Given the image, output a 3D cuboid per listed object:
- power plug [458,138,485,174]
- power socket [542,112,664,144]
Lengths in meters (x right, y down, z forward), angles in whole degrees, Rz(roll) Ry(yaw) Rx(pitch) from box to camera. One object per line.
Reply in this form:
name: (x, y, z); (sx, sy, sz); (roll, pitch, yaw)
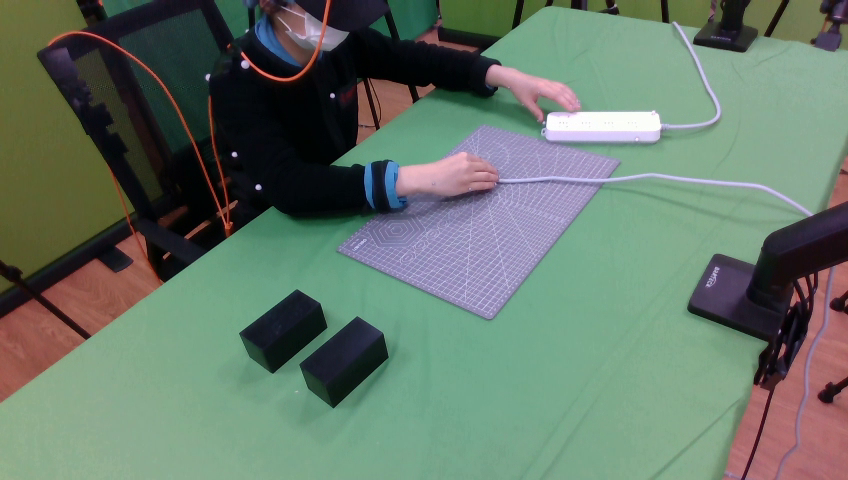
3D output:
power plug: (0.082, -0.153, 1.089); (0.052, 0.072, 0.035); (-14, 11, 44)
power socket: (0.342, -0.217, 1.163); (0.226, 0.033, 0.072); (3, 43, 12)
